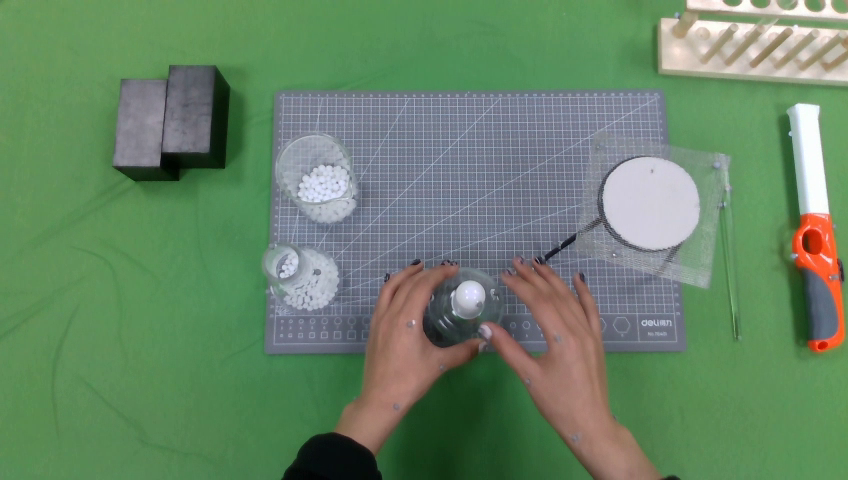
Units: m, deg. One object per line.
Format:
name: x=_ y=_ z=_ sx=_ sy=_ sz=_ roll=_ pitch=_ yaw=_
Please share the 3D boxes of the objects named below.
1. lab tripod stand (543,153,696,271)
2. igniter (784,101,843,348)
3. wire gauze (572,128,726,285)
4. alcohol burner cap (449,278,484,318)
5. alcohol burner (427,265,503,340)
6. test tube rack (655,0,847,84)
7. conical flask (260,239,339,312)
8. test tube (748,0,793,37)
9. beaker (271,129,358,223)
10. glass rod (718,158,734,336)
lab tripod stand: x=0.198 y=-0.021 z=0.608 sx=0.148 sy=0.132 sz=0.148 roll=0 pitch=81 yaw=0
igniter: x=0.428 y=-0.020 z=0.668 sx=0.057 sy=0.025 sz=0.275 roll=3 pitch=79 yaw=-10
wire gauze: x=0.202 y=-0.033 z=0.542 sx=0.125 sy=0.011 sz=0.121 roll=14 pitch=80 yaw=3
alcohol burner cap: x=0.041 y=0.052 z=0.566 sx=0.034 sy=0.048 sz=0.033 roll=1 pitch=71 yaw=-2
alcohol burner: x=0.041 y=0.060 z=0.601 sx=0.078 sy=0.119 sz=0.077 roll=0 pitch=80 yaw=2
test tube rack: x=0.395 y=-0.231 z=0.678 sx=0.242 sy=0.085 sz=0.066 roll=3 pitch=79 yaw=0
conical flask: x=-0.128 y=0.030 z=0.600 sx=0.075 sy=0.122 sz=0.075 roll=0 pitch=79 yaw=-1
test tube: x=0.379 y=-0.256 z=0.632 sx=0.017 sy=0.151 sz=0.017 roll=0 pitch=78 yaw=2
beaker: x=-0.106 y=-0.060 z=0.629 sx=0.084 sy=0.100 sz=0.074 roll=36 pitch=81 yaw=6
glass rod: x=0.335 y=0.006 z=0.671 sx=0.008 sy=0.008 sz=0.199 roll=1 pitch=82 yaw=-1
